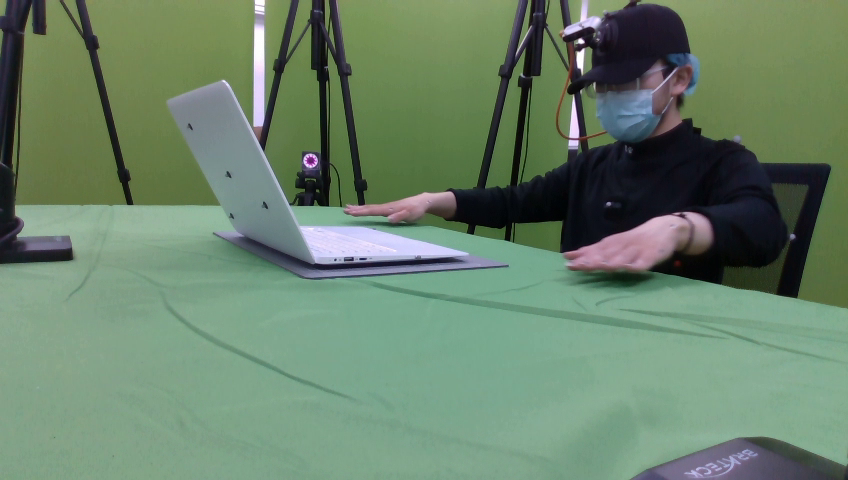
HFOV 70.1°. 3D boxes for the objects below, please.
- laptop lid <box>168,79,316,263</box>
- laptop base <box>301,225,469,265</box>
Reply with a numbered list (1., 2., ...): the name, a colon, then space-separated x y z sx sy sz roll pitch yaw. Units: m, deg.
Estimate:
1. laptop lid: -0.264 -0.093 0.831 0.013 0.242 0.355 -33 25 -25
2. laptop base: -0.124 0.005 0.936 0.237 0.023 0.352 2 6 -33
